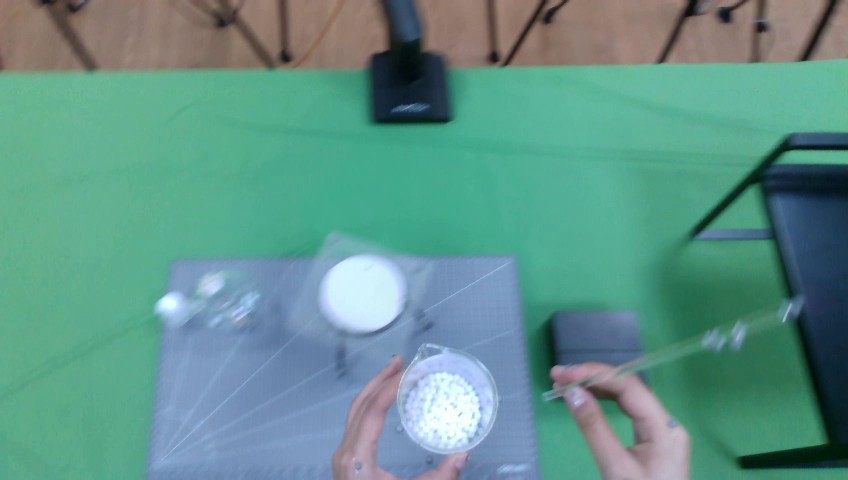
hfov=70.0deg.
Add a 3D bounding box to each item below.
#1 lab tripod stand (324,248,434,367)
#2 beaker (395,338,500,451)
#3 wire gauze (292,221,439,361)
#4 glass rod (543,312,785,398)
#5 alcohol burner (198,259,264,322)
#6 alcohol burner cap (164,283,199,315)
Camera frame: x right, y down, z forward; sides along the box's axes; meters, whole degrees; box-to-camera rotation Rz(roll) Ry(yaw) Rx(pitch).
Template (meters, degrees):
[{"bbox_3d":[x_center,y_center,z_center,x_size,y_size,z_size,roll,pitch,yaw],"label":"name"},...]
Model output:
[{"bbox_3d":[-0.058,0.073,0.702,0.148,0.132,0.147,1,67,-3],"label":"lab tripod stand"},{"bbox_3d":[0.014,0.127,0.482,0.074,0.101,0.083,-21,70,-9],"label":"beaker"},{"bbox_3d":[-0.060,0.049,0.639,0.125,0.011,0.121,21,69,5],"label":"wire gauze"},{"bbox_3d":[0.139,0.080,0.392,0.008,0.200,0.008,13,60,-24],"label":"glass rod"},{"bbox_3d":[-0.230,0.054,0.712,0.078,0.120,0.077,2,67,-4],"label":"alcohol burner"},{"bbox_3d":[-0.298,0.070,0.740,0.034,0.048,0.033,1,67,-1],"label":"alcohol burner cap"}]
